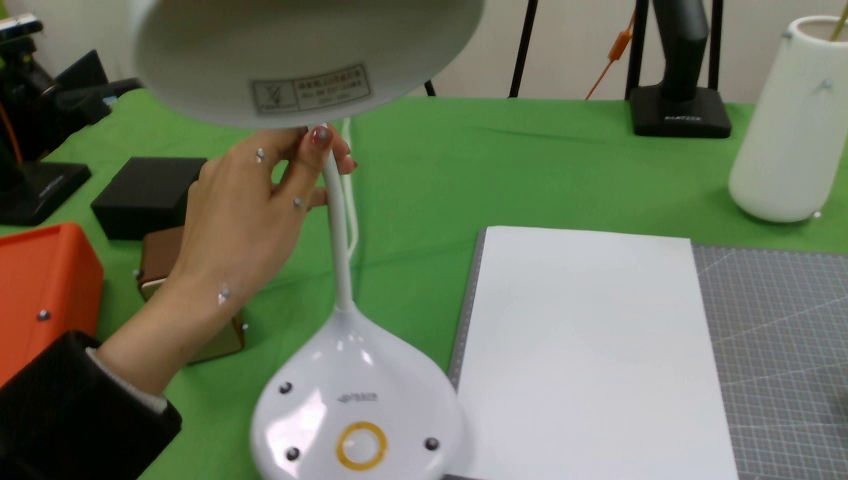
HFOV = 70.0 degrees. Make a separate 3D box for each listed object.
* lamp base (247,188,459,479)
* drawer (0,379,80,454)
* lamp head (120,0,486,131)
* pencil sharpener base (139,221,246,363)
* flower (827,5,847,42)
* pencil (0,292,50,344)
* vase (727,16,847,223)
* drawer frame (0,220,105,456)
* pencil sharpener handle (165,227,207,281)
[{"bbox_3d":[-0.057,0.067,0.434,0.161,0.182,0.177,-10,34,-14],"label":"lamp base"},{"bbox_3d":[-0.406,0.096,0.535,0.195,0.074,0.209,-14,40,-10],"label":"drawer"},{"bbox_3d":[-0.049,-0.111,0.206,0.112,0.113,0.122,-15,74,-11],"label":"lamp head"},{"bbox_3d":[-0.208,0.047,0.551,0.061,0.108,0.076,-14,41,-10],"label":"pencil sharpener base"},{"bbox_3d":[0.359,-0.165,0.543,0.038,0.365,0.043,-35,61,-13],"label":"flower"},{"bbox_3d":[-0.396,0.117,0.514,0.012,0.012,0.193,20,58,27],"label":"pencil"},{"bbox_3d":[0.376,-0.115,0.611,0.098,0.202,0.097,-4,39,3],"label":"vase"},{"bbox_3d":[-0.408,0.094,0.536,0.202,0.083,0.211,-15,40,-10],"label":"drawer frame"},{"bbox_3d":[-0.225,0.008,0.580,0.036,0.068,0.030,-10,40,-14],"label":"pencil sharpener handle"}]
